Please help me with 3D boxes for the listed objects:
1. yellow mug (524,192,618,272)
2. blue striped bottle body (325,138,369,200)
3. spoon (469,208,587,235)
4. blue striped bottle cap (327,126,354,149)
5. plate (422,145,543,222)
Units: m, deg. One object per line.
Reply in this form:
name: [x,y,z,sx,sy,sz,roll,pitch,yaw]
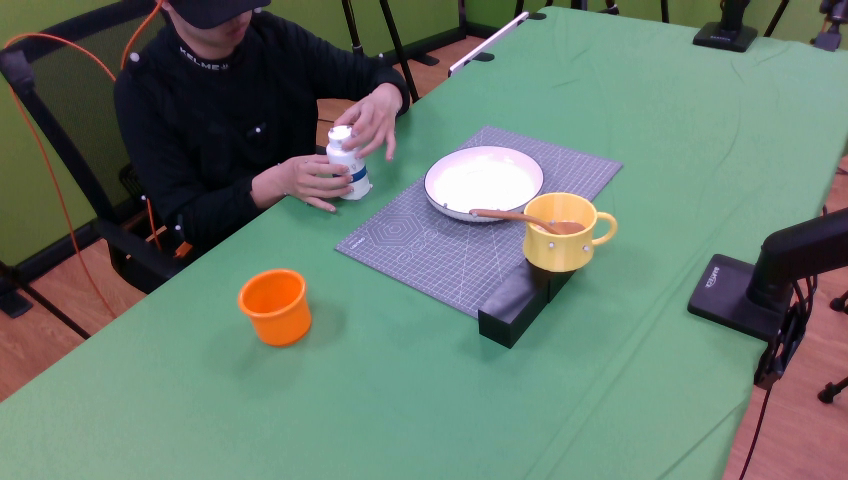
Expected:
yellow mug: [0.206,-0.014,0.845,0.131,0.064,0.099,-4,41,2]
blue striped bottle body: [-0.138,-0.136,1.071,0.063,0.121,0.063,-4,40,4]
spoon: [0.143,-0.026,0.817,0.195,0.021,0.041,12,34,-29]
blue striped bottle cap: [-0.143,-0.176,1.034,0.044,0.021,0.044,-7,39,6]
plate: [0.101,-0.094,1.048,0.207,0.039,0.206,-4,41,4]
